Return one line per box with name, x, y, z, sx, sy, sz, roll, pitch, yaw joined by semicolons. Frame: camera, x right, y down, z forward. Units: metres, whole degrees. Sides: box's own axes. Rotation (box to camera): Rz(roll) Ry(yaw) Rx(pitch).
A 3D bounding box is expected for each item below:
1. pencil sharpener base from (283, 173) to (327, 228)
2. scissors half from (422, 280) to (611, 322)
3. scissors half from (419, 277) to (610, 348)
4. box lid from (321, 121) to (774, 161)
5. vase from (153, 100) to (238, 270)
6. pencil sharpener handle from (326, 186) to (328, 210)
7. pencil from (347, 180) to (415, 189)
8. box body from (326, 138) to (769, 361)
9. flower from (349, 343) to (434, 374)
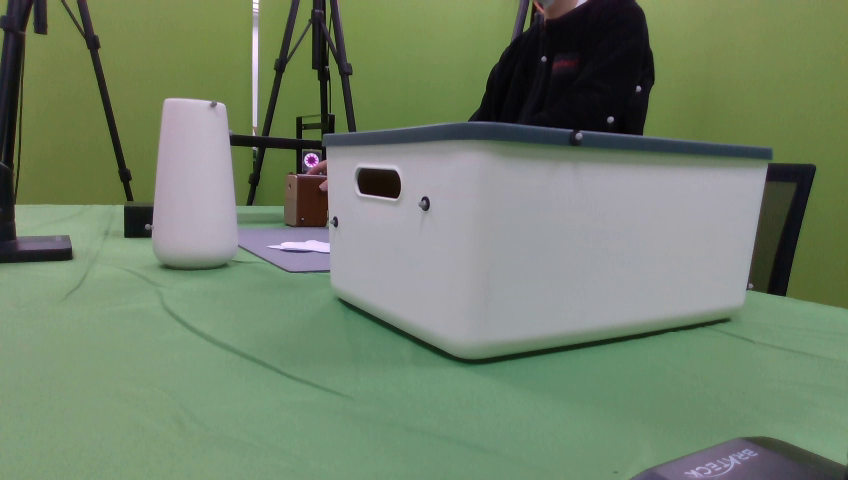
pencil sharpener base;-0.239;-0.081;1.231;0.077;0.107;0.061;-2;9;-37
scissors half;0.073;0.057;0.524;0.174;0.040;0.013;5;39;30
scissors half;0.076;0.067;0.533;0.174;0.040;0.013;14;50;24
box lid;0.113;-0.085;0.573;0.373;0.015;0.262;-2;7;-33
vase;-0.278;-0.066;0.736;0.098;0.200;0.098;2;9;0
pencil sharpener handle;-0.195;-0.095;1.256;0.031;0.067;0.036;-3;-7;-37
pencil;-0.073;-0.088;0.946;0.012;0.012;0.193;-3;7;-37
box body;0.112;-0.010;0.583;0.366;0.160;0.253;-2;9;-33
flower;0.103;0.072;0.592;0.362;0.044;0.038;-16;44;-9
